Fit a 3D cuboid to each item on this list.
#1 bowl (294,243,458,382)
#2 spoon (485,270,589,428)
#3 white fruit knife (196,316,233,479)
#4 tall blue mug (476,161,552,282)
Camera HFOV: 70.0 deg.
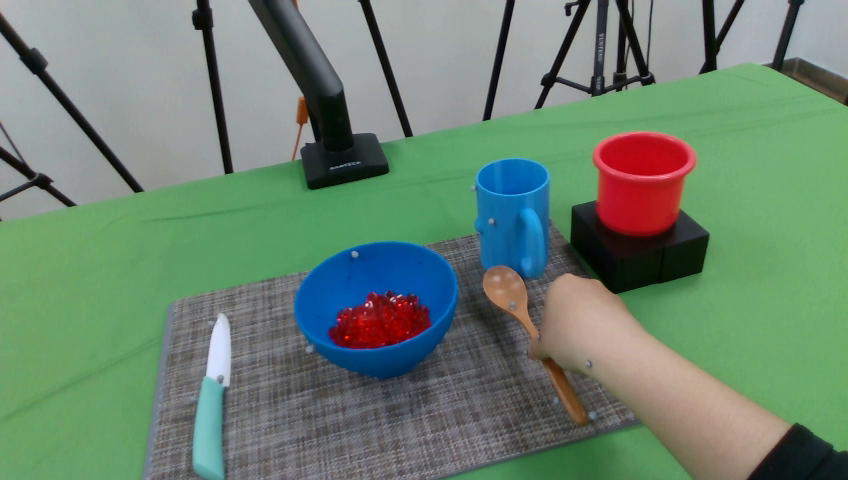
[{"bbox_3d":[-0.039,0.079,0.570,0.151,0.077,0.150,-5,37,4],"label":"bowl"},{"bbox_3d":[0.099,0.090,0.544,0.042,0.022,0.191,-12,34,-9],"label":"spoon"},{"bbox_3d":[-0.195,0.140,0.571,0.027,0.016,0.205,13,29,-22],"label":"white fruit knife"},{"bbox_3d":[0.107,-0.013,0.643,0.078,0.109,0.106,-31,42,-29],"label":"tall blue mug"}]
